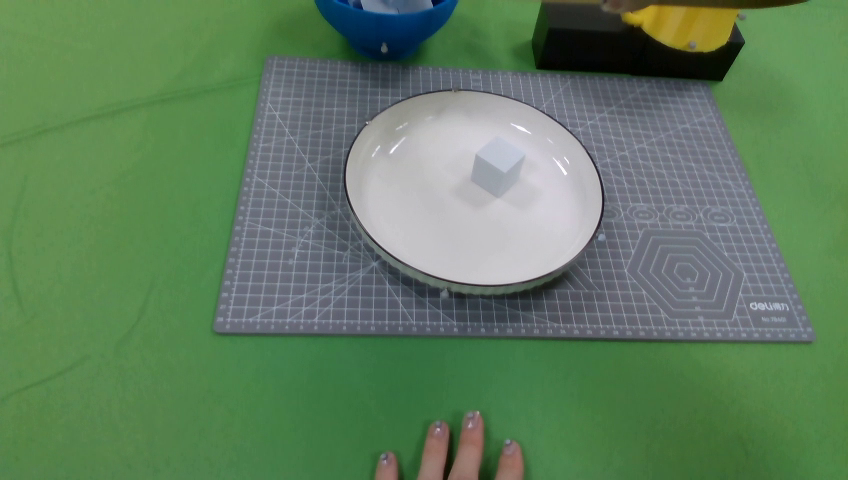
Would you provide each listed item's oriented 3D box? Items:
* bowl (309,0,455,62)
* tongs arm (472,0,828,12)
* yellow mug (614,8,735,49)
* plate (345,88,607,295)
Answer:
[{"bbox_3d":[-0.042,-0.231,0.598,0.151,0.077,0.150,3,54,-4],"label":"bowl"},{"bbox_3d":[0.059,-0.174,0.402,0.028,0.028,0.383,-31,36,-25],"label":"tongs arm"},{"bbox_3d":[0.243,-0.237,0.579,0.131,0.064,0.099,-12,56,-13],"label":"yellow mug"},{"bbox_3d":[0.041,-0.041,0.494,0.208,0.039,0.205,3,55,-4],"label":"plate"}]
